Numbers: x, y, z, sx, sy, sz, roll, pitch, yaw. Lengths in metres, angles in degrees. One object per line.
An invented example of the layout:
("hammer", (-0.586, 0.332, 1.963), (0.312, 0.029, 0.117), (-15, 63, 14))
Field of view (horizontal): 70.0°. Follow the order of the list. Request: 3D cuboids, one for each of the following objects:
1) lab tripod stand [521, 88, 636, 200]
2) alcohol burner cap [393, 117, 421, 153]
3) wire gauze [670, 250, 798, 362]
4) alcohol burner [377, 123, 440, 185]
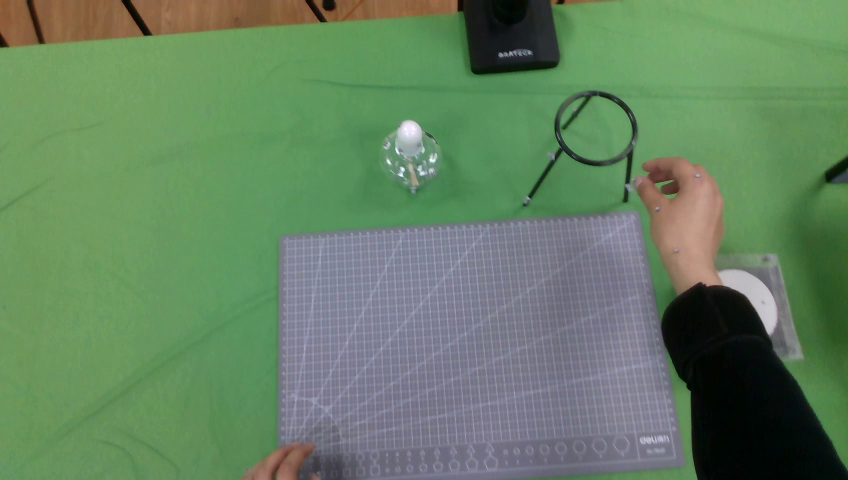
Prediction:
("lab tripod stand", (0.188, -0.105, 0.712), (0.148, 0.132, 0.147), (1, 72, -2))
("alcohol burner cap", (-0.019, -0.122, 0.692), (0.034, 0.048, 0.033), (1, 78, -3))
("wire gauze", (0.340, 0.071, 0.673), (0.121, 0.011, 0.124), (-2, 72, 3))
("alcohol burner", (-0.018, -0.113, 0.726), (0.078, 0.119, 0.077), (0, 73, -1))
